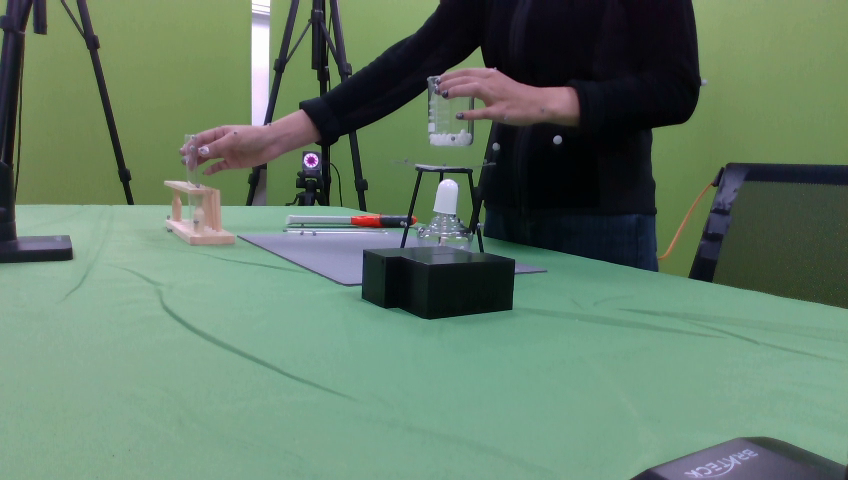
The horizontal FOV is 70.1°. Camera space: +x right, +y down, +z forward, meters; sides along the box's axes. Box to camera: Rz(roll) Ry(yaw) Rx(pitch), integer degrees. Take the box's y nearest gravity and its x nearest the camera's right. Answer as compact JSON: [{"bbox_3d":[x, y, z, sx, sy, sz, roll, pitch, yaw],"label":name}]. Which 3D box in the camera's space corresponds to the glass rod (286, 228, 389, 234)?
[{"bbox_3d":[-0.154,-0.016,1.101,0.201,0.008,0.008,1,6,-31],"label":"glass rod"}]

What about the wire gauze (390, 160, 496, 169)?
[{"bbox_3d":[0.027,-0.115,0.919,0.122,0.011,0.124,-4,10,-34],"label":"wire gauze"}]

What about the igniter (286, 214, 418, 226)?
[{"bbox_3d":[-0.146,-0.043,1.263,0.278,0.025,0.057,-1,-2,-24],"label":"igniter"}]

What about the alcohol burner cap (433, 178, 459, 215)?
[{"bbox_3d":[0.031,-0.059,0.806,0.034,0.048,0.034,8,10,-1],"label":"alcohol burner cap"}]

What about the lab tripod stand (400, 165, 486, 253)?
[{"bbox_3d":[0.027,-0.049,0.930,0.148,0.131,0.148,2,9,0],"label":"lab tripod stand"}]

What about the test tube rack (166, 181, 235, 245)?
[{"bbox_3d":[-0.383,-0.051,1.024,0.067,0.085,0.241,-2,9,-31],"label":"test tube rack"}]

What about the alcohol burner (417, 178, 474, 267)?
[{"bbox_3d":[0.029,-0.024,0.810,0.078,0.119,0.078,1,8,0],"label":"alcohol burner"}]

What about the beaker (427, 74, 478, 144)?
[{"bbox_3d":[0.039,-0.195,0.910,0.074,0.100,0.083,-8,11,-41],"label":"beaker"}]

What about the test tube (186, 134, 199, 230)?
[{"bbox_3d":[-0.360,-0.090,0.946,0.017,0.150,0.017,0,10,0],"label":"test tube"}]
